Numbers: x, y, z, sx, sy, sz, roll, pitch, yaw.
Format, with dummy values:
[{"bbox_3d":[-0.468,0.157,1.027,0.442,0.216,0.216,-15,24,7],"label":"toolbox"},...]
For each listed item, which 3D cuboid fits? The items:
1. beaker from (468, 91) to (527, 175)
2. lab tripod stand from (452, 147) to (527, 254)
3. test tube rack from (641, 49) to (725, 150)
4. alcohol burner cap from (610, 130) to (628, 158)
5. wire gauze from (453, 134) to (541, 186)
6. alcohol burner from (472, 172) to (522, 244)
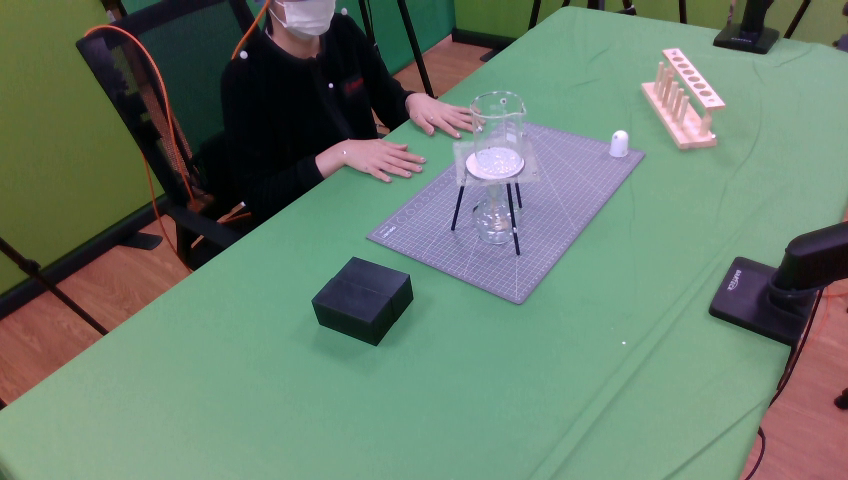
[{"bbox_3d":[0.108,-0.151,0.865,0.083,0.101,0.074,15,47,26],"label":"beaker"},{"bbox_3d":[0.111,-0.066,0.943,0.148,0.132,0.147,-5,42,5],"label":"lab tripod stand"},{"bbox_3d":[0.495,-0.279,1.175,0.067,0.085,0.241,-5,41,3],"label":"test tube rack"},{"bbox_3d":[0.359,-0.177,1.106,0.034,0.048,0.033,-5,41,5],"label":"alcohol burner cap"},{"bbox_3d":[0.106,-0.118,0.903,0.125,0.011,0.121,-6,39,7],"label":"wire gauze"},{"bbox_3d":[0.112,-0.053,0.942,0.078,0.119,0.077,-6,40,5],"label":"alcohol burner"}]
